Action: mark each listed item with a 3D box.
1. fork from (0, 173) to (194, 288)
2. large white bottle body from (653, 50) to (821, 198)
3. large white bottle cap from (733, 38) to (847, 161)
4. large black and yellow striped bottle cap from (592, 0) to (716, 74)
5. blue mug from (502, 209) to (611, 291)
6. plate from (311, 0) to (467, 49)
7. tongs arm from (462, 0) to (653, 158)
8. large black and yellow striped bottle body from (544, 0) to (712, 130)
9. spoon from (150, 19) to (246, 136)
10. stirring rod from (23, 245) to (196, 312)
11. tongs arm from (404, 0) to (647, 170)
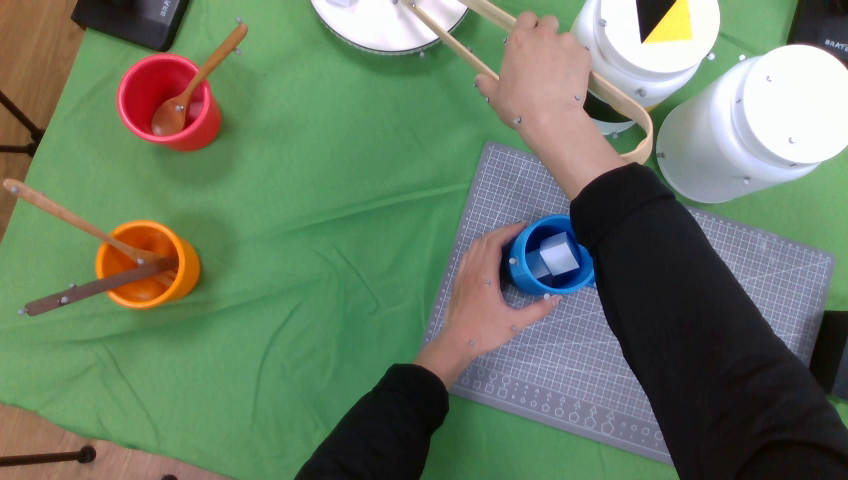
[{"bbox_3d":[-0.327,-0.006,0.623,0.028,0.018,0.209,-55,133,-7],"label":"fork"},{"bbox_3d":[0.345,-0.123,0.652,0.131,0.185,0.130,0,85,-3],"label":"large white bottle body"},{"bbox_3d":[0.348,-0.132,0.568,0.115,0.018,0.114,0,85,-4],"label":"large white bottle cap"},{"bbox_3d":[0.217,-0.214,0.569,0.115,0.019,0.115,0,86,-4],"label":"large black and yellow striped bottle cap"},{"bbox_3d":[0.149,0.021,0.667,0.116,0.106,0.082,26,84,-1],"label":"blue mug"},{"bbox_3d":[-0.041,-0.325,0.721,0.208,0.039,0.207,0,85,-3],"label":"plate"},{"bbox_3d":[0.091,-0.206,0.612,0.028,0.028,0.383,-37,58,-7],"label":"tongs arm"},{"bbox_3d":[0.213,-0.204,0.652,0.131,0.184,0.130,0,85,-3],"label":"large black and yellow striped bottle body"},{"bbox_3d":[-0.243,-0.170,0.644,0.193,0.022,0.041,-31,82,38],"label":"spoon"},{"bbox_3d":[-0.317,0.037,0.626,0.176,0.006,0.014,-25,90,-47],"label":"stirring rod"},{"bbox_3d":[0.071,-0.190,0.610,0.051,0.027,0.380,-36,59,-2],"label":"tongs arm"}]
